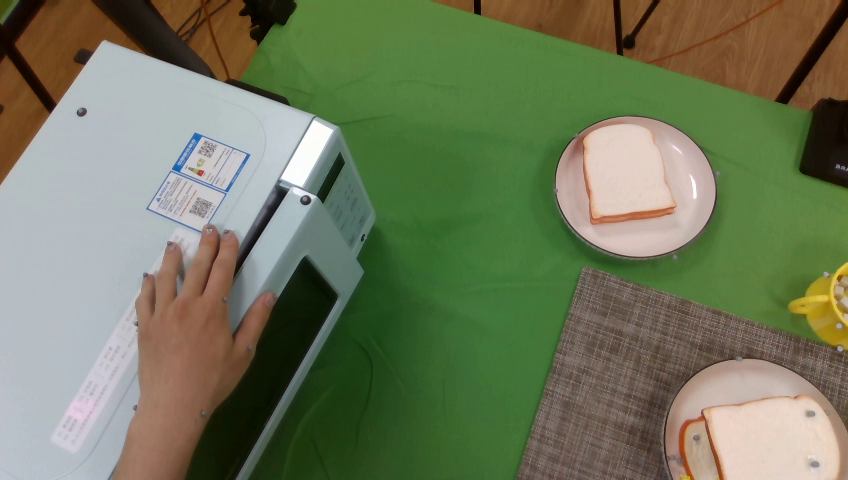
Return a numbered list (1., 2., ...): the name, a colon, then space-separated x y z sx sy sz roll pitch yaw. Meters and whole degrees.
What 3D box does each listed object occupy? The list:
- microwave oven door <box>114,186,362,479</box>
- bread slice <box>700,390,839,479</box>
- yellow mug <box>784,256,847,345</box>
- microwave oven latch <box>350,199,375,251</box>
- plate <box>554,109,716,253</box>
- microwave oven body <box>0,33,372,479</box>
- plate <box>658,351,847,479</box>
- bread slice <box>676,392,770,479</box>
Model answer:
1. microwave oven door: -0.186 0.138 0.649 0.039 0.245 0.354 24 74 13
2. bread slice: 0.364 0.211 0.636 0.134 0.018 0.106 -12 76 -7
3. yellow mug: 0.504 0.072 0.725 0.131 0.064 0.099 -1 70 6
4. microwave oven latch: -0.092 -0.021 0.805 0.030 0.030 0.079 24 75 12
5. plate: 0.277 -0.077 0.813 0.207 0.039 0.206 -2 70 5
6. microwave oven body: -0.308 0.048 0.697 0.325 0.262 0.440 22 74 12
7. plate: 0.371 0.233 0.690 0.209 0.038 0.207 -2 70 5
8. bread slice: 0.359 0.238 0.692 0.131 0.019 0.104 -12 69 -1
